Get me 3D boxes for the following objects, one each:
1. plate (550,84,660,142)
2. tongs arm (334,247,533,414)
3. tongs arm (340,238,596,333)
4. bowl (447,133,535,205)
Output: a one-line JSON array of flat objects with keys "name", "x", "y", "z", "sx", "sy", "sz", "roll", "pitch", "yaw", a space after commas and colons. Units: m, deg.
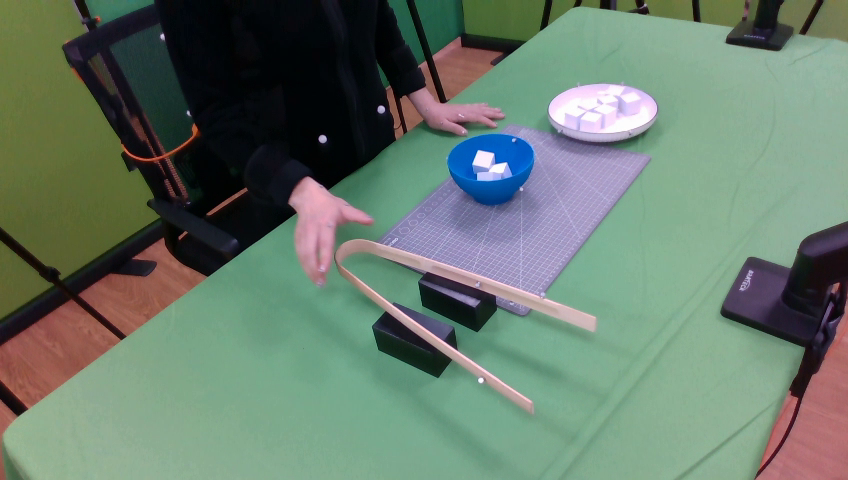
[{"name": "plate", "x": 0.355, "y": -0.246, "z": 1.195, "sx": 0.207, "sy": 0.039, "sz": 0.206, "roll": -5, "pitch": 39, "yaw": 5}, {"name": "tongs arm", "x": -0.007, "y": 0.105, "z": 0.783, "sx": 0.028, "sy": 0.028, "sz": 0.384, "roll": -38, "pitch": 48, "yaw": -23}, {"name": "tongs arm", "x": 0.043, "y": 0.061, "z": 0.826, "sx": 0.382, "sy": 0.026, "sz": 0.051, "roll": 20, "pitch": 50, "yaw": 30}, {"name": "bowl", "x": 0.119, "y": -0.114, "z": 1.051, "sx": 0.151, "sy": 0.077, "sz": 0.150, "roll": -5, "pitch": 40, "yaw": 5}]
